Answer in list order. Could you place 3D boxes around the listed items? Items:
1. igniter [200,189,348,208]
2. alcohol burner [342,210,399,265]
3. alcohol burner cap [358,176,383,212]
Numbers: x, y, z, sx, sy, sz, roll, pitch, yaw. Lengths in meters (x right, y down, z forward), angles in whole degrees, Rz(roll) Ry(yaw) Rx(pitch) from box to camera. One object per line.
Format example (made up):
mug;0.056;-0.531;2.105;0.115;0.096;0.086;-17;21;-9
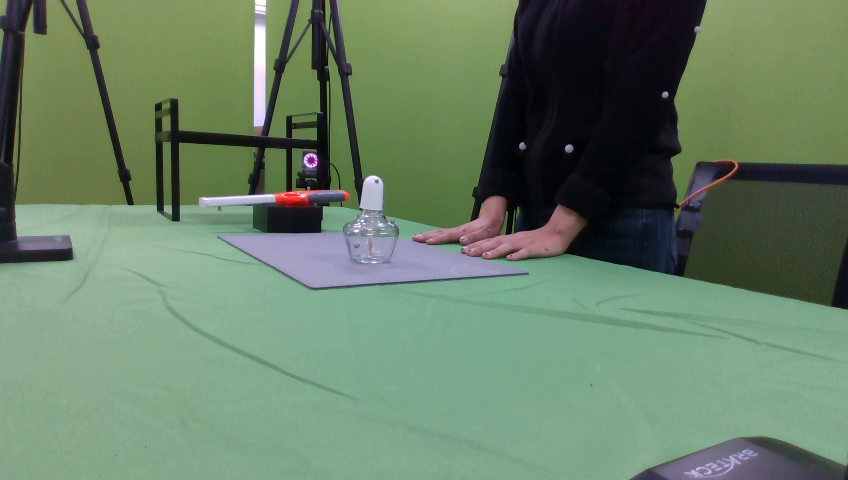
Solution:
igniter;-0.275;-0.079;1.142;0.278;0.025;0.057;-6;11;-32
alcohol burner;-0.073;-0.027;0.818;0.078;0.119;0.078;1;6;0
alcohol burner cap;-0.070;-0.063;0.814;0.034;0.048;0.034;9;9;-1
